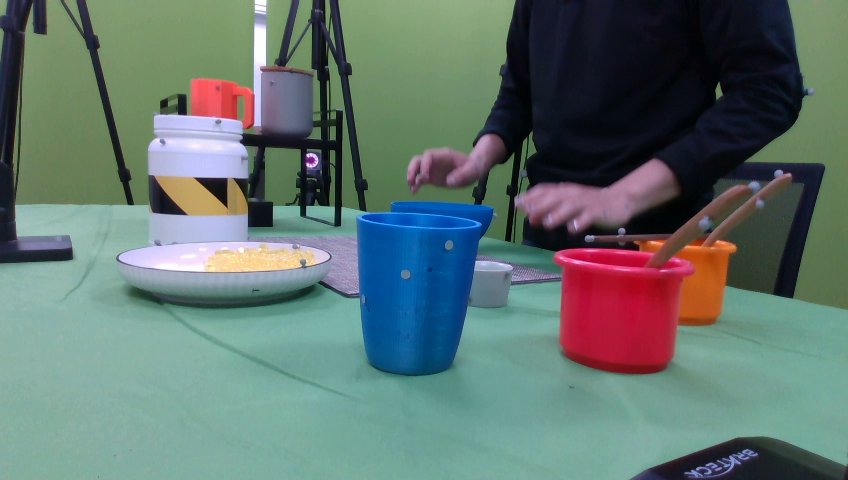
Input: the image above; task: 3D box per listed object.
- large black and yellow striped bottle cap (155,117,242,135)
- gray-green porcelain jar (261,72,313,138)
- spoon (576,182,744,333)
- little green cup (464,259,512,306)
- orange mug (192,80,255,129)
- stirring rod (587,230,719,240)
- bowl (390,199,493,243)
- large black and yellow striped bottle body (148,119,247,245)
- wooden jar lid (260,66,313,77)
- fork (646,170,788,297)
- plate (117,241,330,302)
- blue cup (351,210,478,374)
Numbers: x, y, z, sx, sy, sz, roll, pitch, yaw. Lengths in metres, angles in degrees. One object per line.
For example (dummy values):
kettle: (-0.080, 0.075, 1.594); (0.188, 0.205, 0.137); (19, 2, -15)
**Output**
large black and yellow striped bottle cap: (-0.313, -0.159, 0.845); (0.115, 0.019, 0.115); (3, 9, 0)
gray-green porcelain jar: (-0.284, -0.276, 1.253); (0.106, 0.126, 0.106); (2, 8, 0)
spoon: (0.152, 0.020, 0.410); (0.042, 0.021, 0.193); (-1, -36, -13)
little green cup: (0.057, 0.043, 0.611); (0.061, 0.038, 0.061); (3, 7, 0)
orange mug: (-0.389, -0.257, 1.172); (0.126, 0.100, 0.083); (-1, 6, 9)
stirring rod: (0.226, -0.005, 0.587); (0.177, 0.006, 0.014); (-2, 10, -29)
bowl: (0.023, -0.016, 0.874); (0.151, 0.077, 0.151); (3, 7, 0)
large black and yellow striped bottle body: (-0.318, -0.076, 0.855); (0.131, 0.184, 0.130); (2, 7, 0)
wooden jar lid: (-0.283, -0.339, 1.244); (0.108, 0.020, 0.108); (6, 8, -1)
fork: (0.256, 0.004, 0.543); (0.028, 0.018, 0.207); (3, -36, -9)
plate: (-0.203, 0.031, 0.630); (0.209, 0.038, 0.209); (3, 7, 0)
blue cup: (-0.009, 0.034, 0.414); (0.093, 0.100, 0.092); (4, 8, 0)
